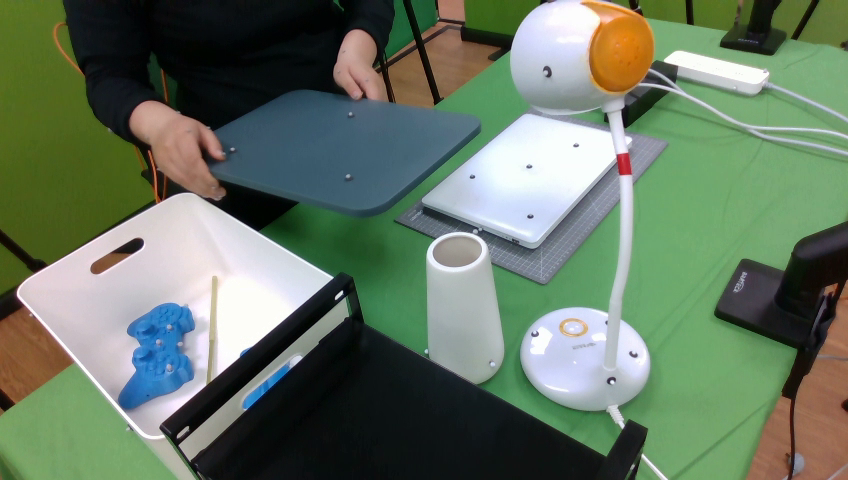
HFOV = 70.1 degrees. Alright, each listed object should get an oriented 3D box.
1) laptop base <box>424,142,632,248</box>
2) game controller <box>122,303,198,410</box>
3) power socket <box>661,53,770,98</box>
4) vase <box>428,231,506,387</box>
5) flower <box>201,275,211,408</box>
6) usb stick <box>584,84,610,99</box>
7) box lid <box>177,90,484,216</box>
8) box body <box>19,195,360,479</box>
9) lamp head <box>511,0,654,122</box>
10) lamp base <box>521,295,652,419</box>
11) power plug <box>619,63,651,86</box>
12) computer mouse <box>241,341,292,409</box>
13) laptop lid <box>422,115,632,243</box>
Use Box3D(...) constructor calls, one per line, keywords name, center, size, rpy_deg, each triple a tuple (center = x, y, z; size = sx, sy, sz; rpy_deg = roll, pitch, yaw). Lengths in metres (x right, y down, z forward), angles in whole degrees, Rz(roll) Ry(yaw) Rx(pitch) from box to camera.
Box3D(name="laptop base", center=(0.193, -0.117, 1.087), size=(0.233, 0.023, 0.355), rpy_deg=(21, 47, 34))
Box3D(name="game controller", center=(-0.363, 0.150, 0.829), size=(0.097, 0.052, 0.154), rpy_deg=(-14, 42, -9))
Box3D(name="power socket", center=(0.617, -0.355, 1.292), size=(0.225, 0.033, 0.072), rpy_deg=(29, 53, 35))
Box3D(name="vase", center=(0.050, 0.087, 0.728), size=(0.098, 0.201, 0.097), rpy_deg=(-3, 40, 3))
Box3D(name="flower", center=(-0.293, 0.162, 0.818), size=(0.044, 0.038, 0.358), rpy_deg=(7, 34, -27))
Box3D(name="usb stick", center=(0.353, -0.306, 1.253), size=(0.027, 0.021, 0.058), rpy_deg=(-2, 1, -39))
Box3D(name="box lid", center=(-0.128, -0.133, 0.824), size=(0.368, 0.015, 0.264), rpy_deg=(15, 41, 31))
Box3D(name="box body", center=(-0.288, 0.118, 0.772), size=(0.361, 0.161, 0.255), rpy_deg=(26, 50, 33))
Box3D(name="lamp head", center=(0.155, -0.168, 0.563), size=(0.113, 0.113, 0.122), rpy_deg=(-18, 23, -12))
Box3D(name="lamp base", center=(0.201, 0.095, 0.710), size=(0.161, 0.181, 0.178), rpy_deg=(-16, 43, -10))
Box3D(name="power plug", center=(0.435, -0.341, 1.266), size=(0.035, 0.053, 0.072), rpy_deg=(5, 31, -14))
Box3D(name="computer mouse", center=(-0.201, 0.177, 0.776), size=(0.063, 0.041, 0.116), rpy_deg=(-11, 44, -8))
Box3D(name="laptop lid", center=(0.189, -0.126, 1.082), size=(0.239, 0.013, 0.358), rpy_deg=(23, 49, 35))
